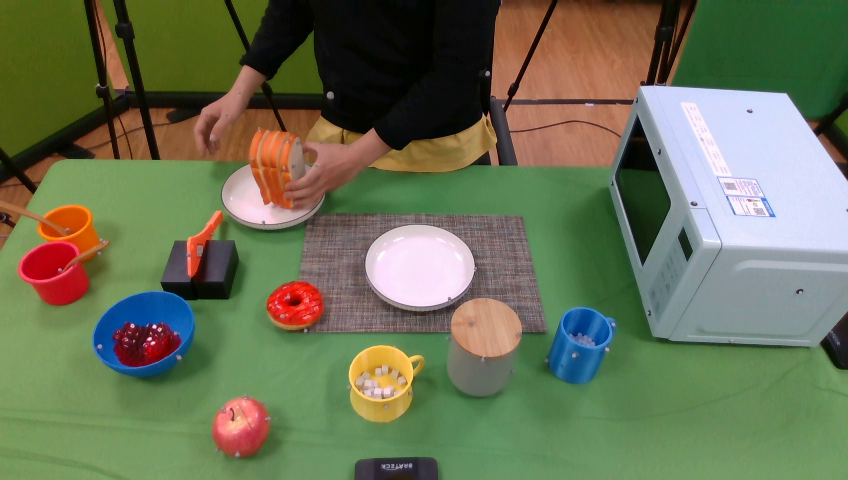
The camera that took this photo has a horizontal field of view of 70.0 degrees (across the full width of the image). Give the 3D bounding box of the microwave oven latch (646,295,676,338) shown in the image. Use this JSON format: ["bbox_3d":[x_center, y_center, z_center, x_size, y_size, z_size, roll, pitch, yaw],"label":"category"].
[{"bbox_3d":[0.413,0.133,1.060,0.030,0.029,0.078,4,46,1],"label":"microwave oven latch"}]

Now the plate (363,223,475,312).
[{"bbox_3d":[-0.009,0.054,1.126,0.208,0.039,0.206,2,46,-2],"label":"plate"}]

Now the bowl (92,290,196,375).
[{"bbox_3d":[-0.436,0.161,0.971,0.151,0.077,0.150,2,46,-2],"label":"bowl"}]

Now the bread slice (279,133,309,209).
[{"bbox_3d":[-0.256,-0.142,1.200,0.019,0.132,0.104,3,50,6],"label":"bread slice"}]

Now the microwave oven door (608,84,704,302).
[{"bbox_3d":[0.424,-0.096,1.138,0.039,0.245,0.353,2,47,-1],"label":"microwave oven door"}]

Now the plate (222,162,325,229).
[{"bbox_3d":[-0.307,-0.094,1.251,0.209,0.038,0.208,2,46,-2],"label":"plate"}]

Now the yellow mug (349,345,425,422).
[{"bbox_3d":[-0.054,0.217,0.954,0.131,0.064,0.099,-23,52,-25],"label":"yellow mug"}]

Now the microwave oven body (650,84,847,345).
[{"bbox_3d":[0.569,-0.054,1.116,0.326,0.261,0.439,2,46,-1],"label":"microwave oven body"}]

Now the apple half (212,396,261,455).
[{"bbox_3d":[-0.276,0.276,0.877,0.053,0.075,0.080,-29,58,-21],"label":"apple half"}]

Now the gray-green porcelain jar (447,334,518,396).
[{"bbox_3d":[0.091,0.178,0.960,0.106,0.127,0.105,2,46,-2],"label":"gray-green porcelain jar"}]

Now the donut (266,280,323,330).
[{"bbox_3d":[-0.223,0.113,1.051,0.099,0.048,0.098,2,46,-2],"label":"donut"}]

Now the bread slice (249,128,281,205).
[{"bbox_3d":[-0.313,-0.155,1.204,0.018,0.135,0.106,3,49,7],"label":"bread slice"}]

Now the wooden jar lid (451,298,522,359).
[{"bbox_3d":[0.093,0.135,0.914,0.108,0.021,0.107,2,48,-3],"label":"wooden jar lid"}]

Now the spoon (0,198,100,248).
[{"bbox_3d":[-0.684,-0.035,1.092,0.021,0.195,0.041,-32,42,28],"label":"spoon"}]

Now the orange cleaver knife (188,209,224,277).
[{"bbox_3d":[-0.402,0.000,1.123,0.012,0.077,0.210,0,22,-3],"label":"orange cleaver knife"}]

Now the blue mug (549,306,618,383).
[{"bbox_3d":[0.269,0.167,0.997,0.116,0.106,0.082,-19,51,-21],"label":"blue mug"}]

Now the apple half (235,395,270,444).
[{"bbox_3d":[-0.245,0.260,0.893,0.033,0.082,0.081,-29,55,-22],"label":"apple half"}]

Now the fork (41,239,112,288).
[{"bbox_3d":[-0.591,0.040,1.028,0.207,0.019,0.028,-27,37,29],"label":"fork"}]
